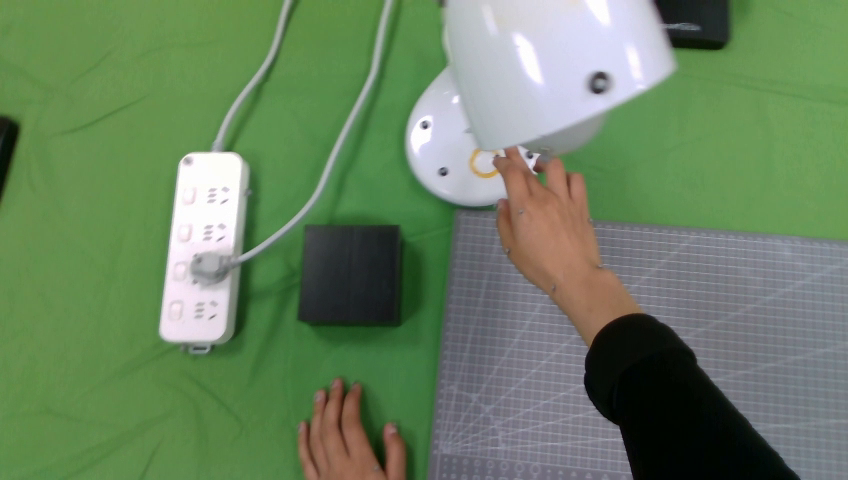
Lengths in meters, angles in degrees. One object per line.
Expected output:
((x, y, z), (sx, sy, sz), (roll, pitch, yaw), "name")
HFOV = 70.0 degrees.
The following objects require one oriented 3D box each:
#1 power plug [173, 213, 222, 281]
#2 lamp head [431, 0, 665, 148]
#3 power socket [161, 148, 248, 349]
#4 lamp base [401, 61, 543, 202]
((-0.238, 0.009, 0.645), (0.035, 0.053, 0.072), (-13, 69, -17), "power plug")
((0.053, -0.125, 0.324), (0.112, 0.112, 0.123), (-26, 100, -4), "lamp head")
((-0.240, 0.005, 0.668), (0.072, 0.033, 0.225), (0, 76, 2), "power socket")
((0.045, -0.149, 0.616), (0.160, 0.181, 0.178), (-23, 74, -3), "lamp base")
